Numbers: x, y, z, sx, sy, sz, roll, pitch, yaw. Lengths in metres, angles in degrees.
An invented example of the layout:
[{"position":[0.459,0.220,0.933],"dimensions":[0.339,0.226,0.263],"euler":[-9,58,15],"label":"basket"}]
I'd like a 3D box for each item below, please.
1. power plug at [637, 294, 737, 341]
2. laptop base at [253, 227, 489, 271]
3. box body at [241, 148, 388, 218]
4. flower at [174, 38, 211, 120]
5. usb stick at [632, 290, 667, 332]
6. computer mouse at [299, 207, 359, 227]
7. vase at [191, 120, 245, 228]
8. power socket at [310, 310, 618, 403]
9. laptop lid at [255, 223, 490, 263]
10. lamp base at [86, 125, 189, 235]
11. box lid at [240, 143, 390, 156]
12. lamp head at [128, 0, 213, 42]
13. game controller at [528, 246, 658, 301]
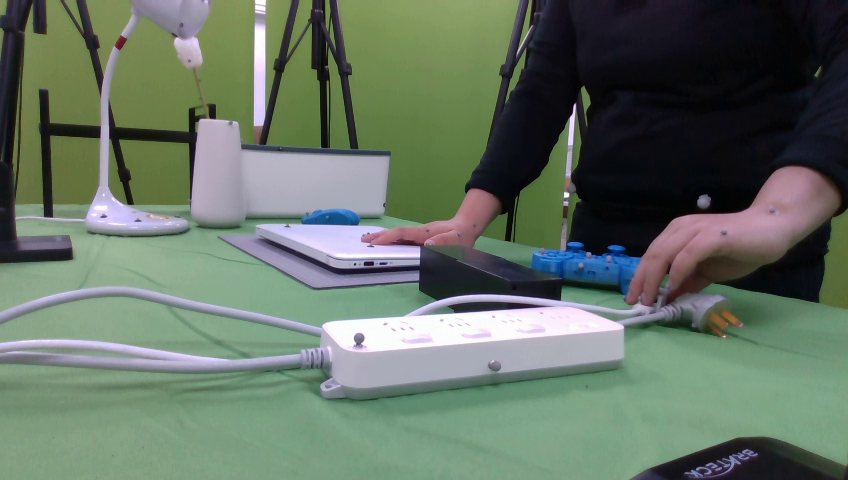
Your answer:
[{"position":[0.235,0.077,0.535],"dimensions":[0.072,0.035,0.052],"euler":[-33,39,-3],"label":"power plug"},{"position":[-0.096,0.012,0.911],"dimensions":[0.237,0.023,0.352],"euler":[2,7,-32],"label":"laptop base"},{"position":[-0.297,-0.143,1.474],"dimensions":[0.366,0.160,0.253],"euler":[-1,9,-30],"label":"box body"},{"position":[-0.401,-0.206,1.141],"dimensions":[0.038,0.361,0.044],"euler":[-14,3,44],"label":"flower"},{"position":[0.224,0.067,0.595],"dimensions":[0.021,0.027,0.059],"euler":[12,19,32],"label":"usb stick"},{"position":[-0.195,-0.046,1.241],"dimensions":[0.117,0.041,0.063],"euler":[0,10,11],"label":"computer mouse"},{"position":[-0.389,-0.124,1.142],"dimensions":[0.098,0.200,0.098],"euler":[3,9,0],"label":"vase"},{"position":[0.033,0.074,0.415],"dimensions":[0.228,0.032,0.072],"euler":[-1,7,-24],"label":"power socket"},{"position":[-0.093,0.001,0.911],"dimensions":[0.243,0.013,0.355],"euler":[2,7,-30],"label":"laptop lid"},{"position":[-0.497,-0.105,1.027],"dimensions":[0.179,0.180,0.160],"euler":[1,7,2],"label":"lamp base"},{"position":[-0.295,-0.217,1.463],"dimensions":[0.373,0.015,0.262],"euler":[-1,8,-30],"label":"box lid"},{"position":[-0.423,-0.394,0.980],"dimensions":[0.123,0.112,0.112],"euler":[20,7,-3],"label":"lamp head"},{"position":[0.202,0.036,0.732],"dimensions":[0.155,0.051,0.097],"euler":[5,10,19],"label":"game controller"}]
